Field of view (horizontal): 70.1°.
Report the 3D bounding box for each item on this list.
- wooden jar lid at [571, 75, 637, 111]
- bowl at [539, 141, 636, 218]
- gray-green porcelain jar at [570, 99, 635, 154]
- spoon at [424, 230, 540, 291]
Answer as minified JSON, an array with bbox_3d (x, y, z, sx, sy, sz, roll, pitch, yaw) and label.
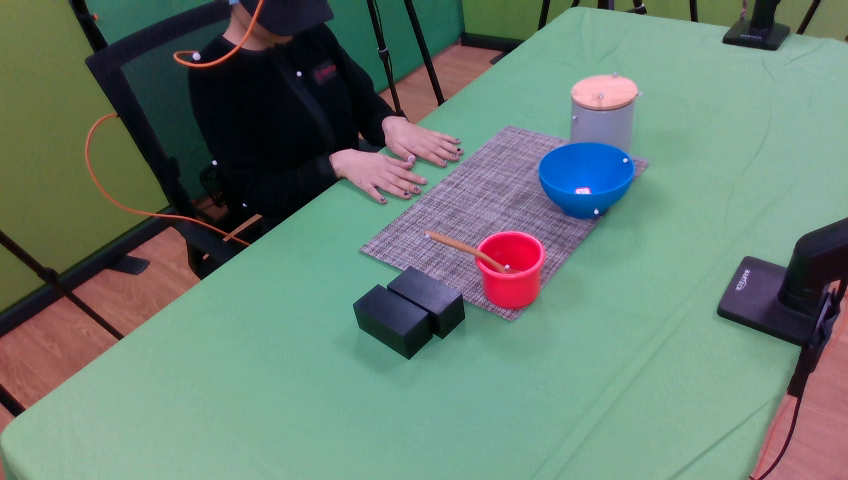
[{"bbox_3d":[0.305,-0.246,1.028,0.108,0.021,0.108,-5,41,5],"label":"wooden jar lid"},{"bbox_3d":[0.264,-0.089,0.989,0.151,0.077,0.150,-5,40,5],"label":"bowl"},{"bbox_3d":[0.313,-0.197,1.069,0.106,0.127,0.105,-5,40,5],"label":"gray-green porcelain jar"},{"bbox_3d":[0.083,0.026,0.836,0.195,0.021,0.041,29,31,-24],"label":"spoon"}]
